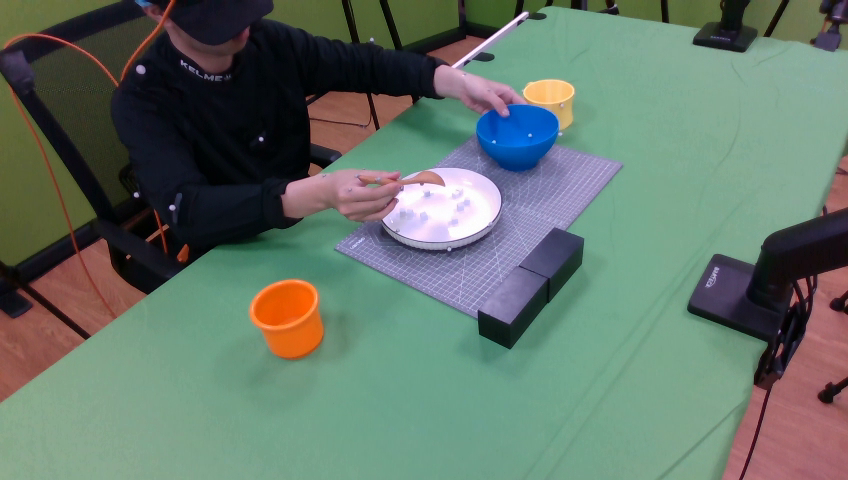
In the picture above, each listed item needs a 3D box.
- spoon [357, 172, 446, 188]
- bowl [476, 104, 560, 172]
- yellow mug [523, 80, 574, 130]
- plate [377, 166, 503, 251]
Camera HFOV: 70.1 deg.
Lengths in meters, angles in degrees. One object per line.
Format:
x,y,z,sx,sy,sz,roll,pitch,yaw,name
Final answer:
-0.030,-0.089,0.916,0.041,0.021,0.195,43,31,28,spoon
0.171,-0.178,1.105,0.151,0.077,0.150,-4,40,4,bowl
0.242,-0.278,1.224,0.100,0.064,0.129,-24,42,-18,yellow mug
0.027,-0.050,1.007,0.209,0.038,0.208,-4,41,4,plate
